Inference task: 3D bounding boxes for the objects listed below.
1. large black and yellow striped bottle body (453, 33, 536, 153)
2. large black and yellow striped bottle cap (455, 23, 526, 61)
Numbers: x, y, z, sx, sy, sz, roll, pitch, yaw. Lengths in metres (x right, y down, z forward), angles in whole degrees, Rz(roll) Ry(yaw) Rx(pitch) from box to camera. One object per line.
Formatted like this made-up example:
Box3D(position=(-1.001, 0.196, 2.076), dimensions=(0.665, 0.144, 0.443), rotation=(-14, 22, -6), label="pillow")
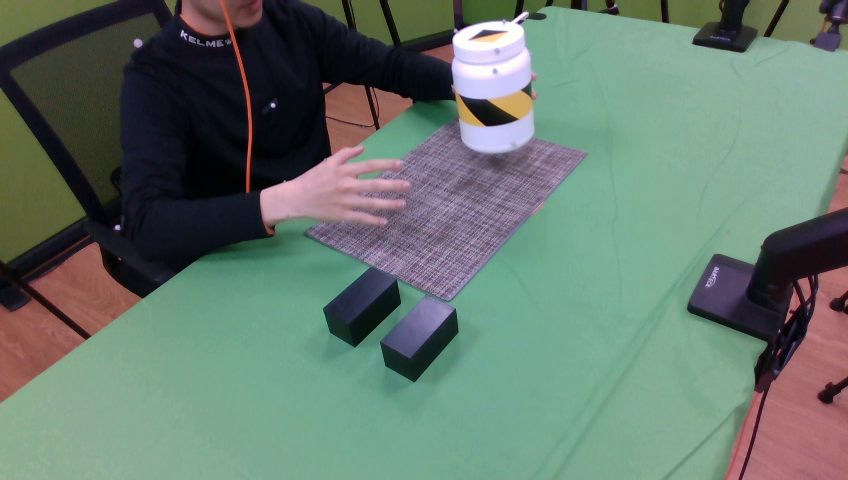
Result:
Box3D(position=(0.120, -0.255, 1.027), dimensions=(0.130, 0.185, 0.130), rotation=(-7, 38, 6), label="large black and yellow striped bottle body")
Box3D(position=(0.107, -0.321, 0.977), dimensions=(0.115, 0.019, 0.114), rotation=(-7, 39, 6), label="large black and yellow striped bottle cap")
